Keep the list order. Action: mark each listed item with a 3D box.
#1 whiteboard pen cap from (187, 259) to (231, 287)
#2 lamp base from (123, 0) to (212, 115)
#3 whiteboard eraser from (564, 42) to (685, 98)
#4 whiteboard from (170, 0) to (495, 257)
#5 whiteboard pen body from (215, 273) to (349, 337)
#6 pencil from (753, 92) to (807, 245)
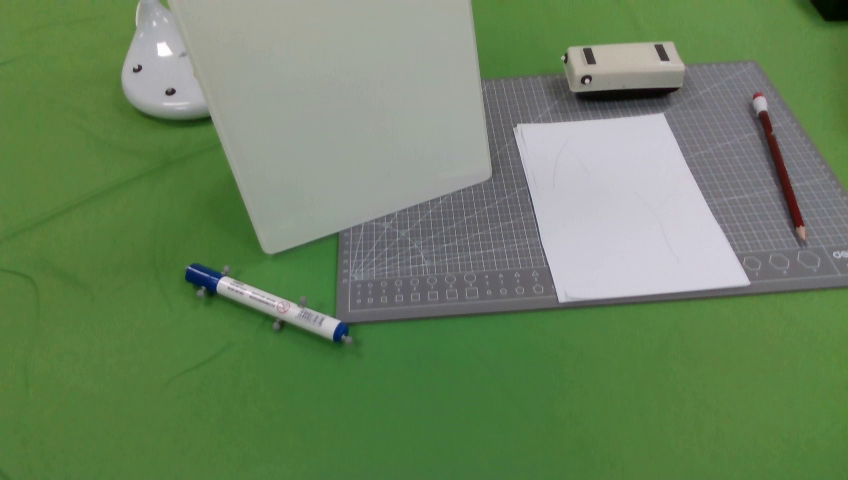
[{"bbox_3d":[-0.174,0.027,0.492,0.033,0.018,0.018,18,53,20],"label":"whiteboard pen cap"},{"bbox_3d":[-0.260,-0.245,0.614,0.178,0.182,0.160,29,57,27],"label":"lamp base"},{"bbox_3d":[0.204,-0.174,0.624,0.113,0.042,0.055,-2,52,1],"label":"whiteboard eraser"},{"bbox_3d":[-0.082,-0.178,0.509,0.217,0.308,0.142,-19,33,-12],"label":"whiteboard"},{"bbox_3d":[-0.122,0.047,0.474,0.140,0.017,0.017,18,54,18],"label":"whiteboard pen body"},{"bbox_3d":[0.326,-0.072,0.555,0.012,0.012,0.192,4,53,6],"label":"pencil"}]
